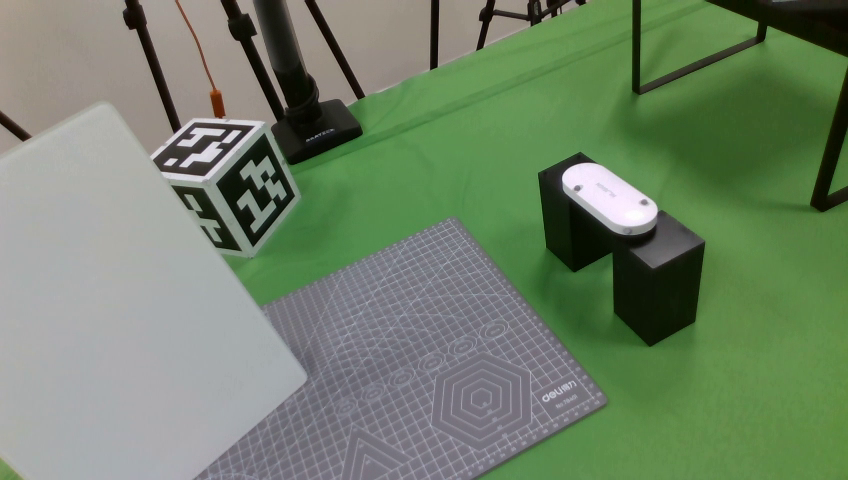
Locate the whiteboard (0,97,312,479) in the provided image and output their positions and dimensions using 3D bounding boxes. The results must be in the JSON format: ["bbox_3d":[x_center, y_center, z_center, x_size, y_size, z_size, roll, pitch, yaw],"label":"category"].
[{"bbox_3d":[-0.287,0.066,0.534,0.217,0.308,0.142,-40,27,-23],"label":"whiteboard"}]

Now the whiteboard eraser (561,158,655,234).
[{"bbox_3d":[0.157,-0.041,0.525,0.041,0.019,0.100,-25,43,-12],"label":"whiteboard eraser"}]
